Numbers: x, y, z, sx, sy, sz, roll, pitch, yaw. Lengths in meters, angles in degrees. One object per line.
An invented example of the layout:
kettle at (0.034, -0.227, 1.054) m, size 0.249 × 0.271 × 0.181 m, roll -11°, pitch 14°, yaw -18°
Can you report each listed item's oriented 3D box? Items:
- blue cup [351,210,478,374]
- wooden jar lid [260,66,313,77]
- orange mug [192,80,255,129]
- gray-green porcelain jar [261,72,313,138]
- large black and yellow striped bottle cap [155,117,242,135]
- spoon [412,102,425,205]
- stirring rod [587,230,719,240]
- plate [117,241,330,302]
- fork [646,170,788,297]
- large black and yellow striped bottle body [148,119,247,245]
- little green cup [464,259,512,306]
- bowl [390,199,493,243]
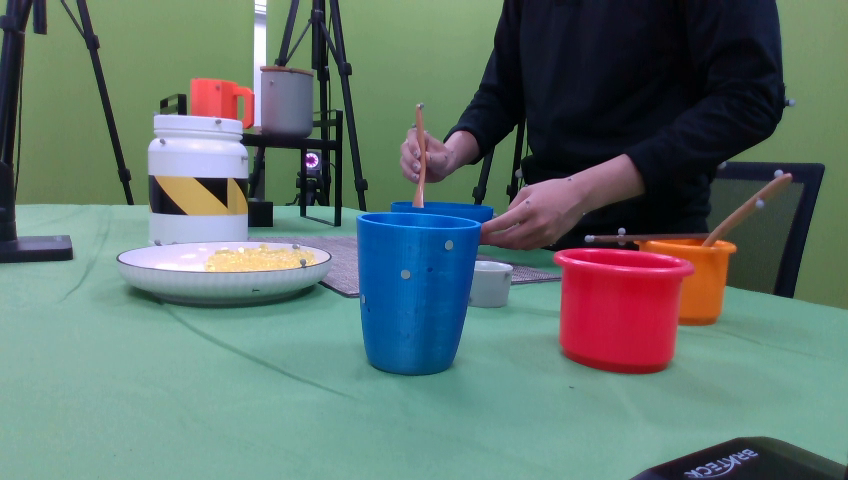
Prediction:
blue cup at (-0.009, 0.034, 0.414) m, size 0.093 × 0.100 × 0.092 m, roll 4°, pitch 8°, yaw 0°
wooden jar lid at (-0.283, -0.339, 1.244) m, size 0.108 × 0.020 × 0.108 m, roll 6°, pitch 9°, yaw -1°
orange mug at (-0.389, -0.257, 1.172) m, size 0.126 × 0.100 × 0.083 m, roll -1°, pitch 6°, yaw 9°
gray-green porcelain jar at (-0.284, -0.276, 1.253) m, size 0.106 × 0.126 × 0.106 m, roll 2°, pitch 8°, yaw 0°
large black and yellow striped bottle cap at (-0.313, -0.159, 0.845) m, size 0.115 × 0.019 × 0.115 m, roll 3°, pitch 9°, yaw 0°
spoon at (-0.007, -0.105, 0.881) m, size 0.022 × 0.193 × 0.041 m, roll 3°, pitch -5°, yaw -20°
stirring rod at (0.226, -0.005, 0.587) m, size 0.177 × 0.006 × 0.014 m, roll -2°, pitch 9°, yaw -29°
plate at (-0.203, 0.031, 0.630) m, size 0.209 × 0.038 × 0.209 m, roll 3°, pitch 7°, yaw 0°
fork at (0.256, 0.004, 0.543) m, size 0.028 × 0.018 × 0.207 m, roll 3°, pitch -36°, yaw -9°
large black and yellow striped bottle body at (-0.318, -0.076, 0.855) m, size 0.131 × 0.184 × 0.130 m, roll 2°, pitch 7°, yaw 0°
little green cup at (0.057, 0.043, 0.611) m, size 0.061 × 0.038 × 0.061 m, roll 3°, pitch 7°, yaw 0°
bowl at (0.023, -0.016, 0.874) m, size 0.151 × 0.077 × 0.151 m, roll 3°, pitch 7°, yaw 0°
